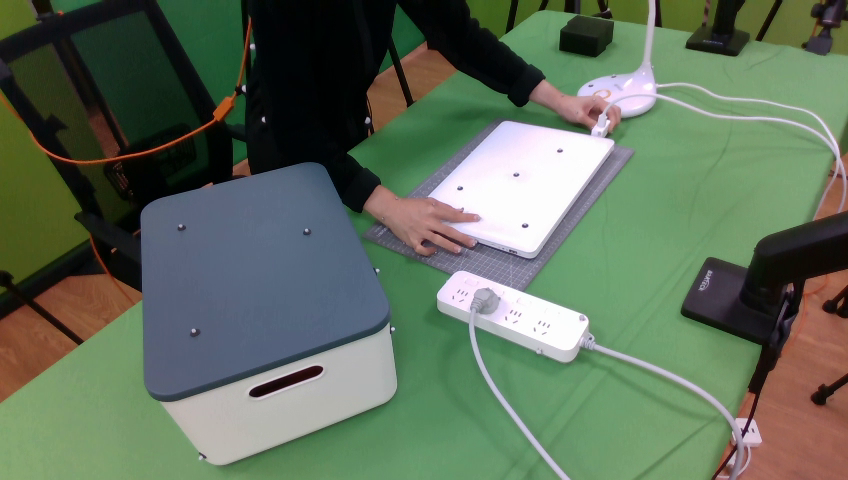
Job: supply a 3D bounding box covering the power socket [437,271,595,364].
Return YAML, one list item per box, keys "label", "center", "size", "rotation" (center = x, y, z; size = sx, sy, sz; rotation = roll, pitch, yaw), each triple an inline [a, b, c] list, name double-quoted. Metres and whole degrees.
- label: "power socket"
  center: [0.118, 0.102, 0.830]
  size: [0.225, 0.033, 0.072]
  rotation: [20, 48, 28]

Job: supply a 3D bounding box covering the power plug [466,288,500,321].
- label: "power plug"
  center: [0.072, 0.093, 0.813]
  size: [0.035, 0.053, 0.073]
  rotation: [30, 55, 35]

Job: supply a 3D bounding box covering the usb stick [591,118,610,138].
- label: "usb stick"
  center: [0.334, -0.205, 1.150]
  size: [0.021, 0.027, 0.059]
  rotation: [23, 53, 22]

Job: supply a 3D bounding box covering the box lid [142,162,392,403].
- label: "box lid"
  center: [-0.212, 0.024, 0.752]
  size: [0.264, 0.015, 0.368]
  rotation: [-17, 41, -13]

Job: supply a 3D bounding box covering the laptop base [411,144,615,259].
- label: "laptop base"
  center: [0.167, -0.102, 1.075]
  size: [0.234, 0.023, 0.355]
  rotation: [17, 46, 30]

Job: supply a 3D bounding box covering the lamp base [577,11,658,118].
- label: "lamp base"
  center: [0.406, -0.363, 1.223]
  size: [0.180, 0.181, 0.159]
  rotation: [-20, 42, -18]

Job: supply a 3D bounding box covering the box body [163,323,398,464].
- label: "box body"
  center: [-0.205, 0.080, 0.802]
  size: [0.255, 0.161, 0.361]
  rotation: [-18, 41, -13]

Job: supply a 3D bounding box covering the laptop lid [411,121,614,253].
- label: "laptop lid"
  center: [0.164, -0.112, 1.069]
  size: [0.240, 0.013, 0.357]
  rotation: [19, 46, 31]
